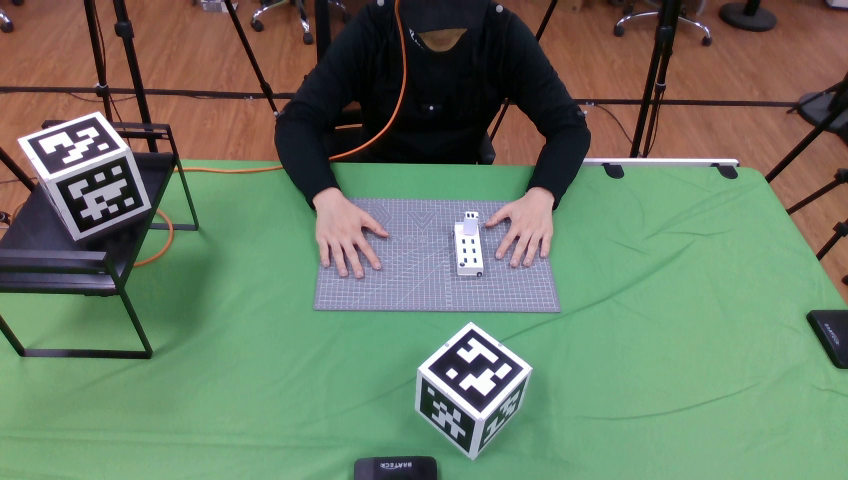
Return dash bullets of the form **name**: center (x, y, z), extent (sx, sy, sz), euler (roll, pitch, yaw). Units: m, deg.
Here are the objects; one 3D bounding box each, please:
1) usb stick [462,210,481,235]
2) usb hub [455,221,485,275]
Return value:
- **usb stick**: center (0.092, -0.037, 1.168), extent (0.027, 0.059, 0.021), euler (-23, 60, -20)
- **usb hub**: center (0.088, 0.014, 1.178), extent (0.049, 0.025, 0.124), euler (0, 46, -2)
